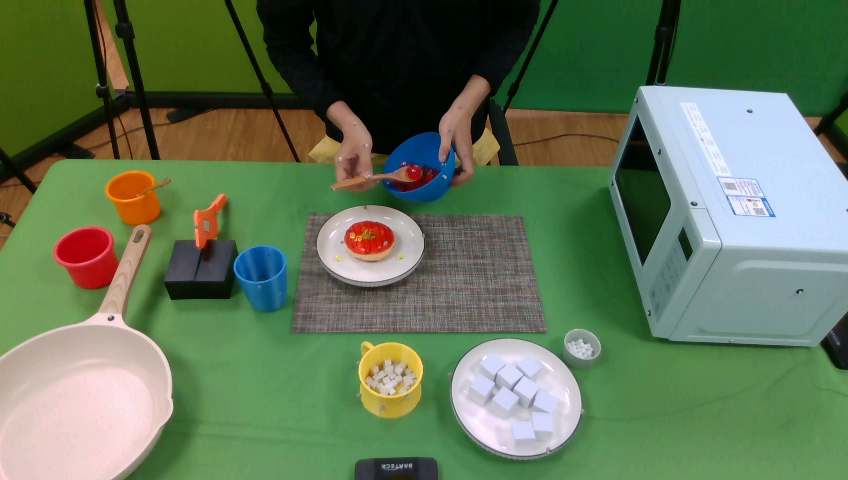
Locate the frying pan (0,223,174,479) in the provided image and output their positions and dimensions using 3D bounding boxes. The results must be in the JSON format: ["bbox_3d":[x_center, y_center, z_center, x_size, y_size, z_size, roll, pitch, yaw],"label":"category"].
[{"bbox_3d":[-0.505,0.169,0.941,0.307,0.103,0.485,5,54,-1],"label":"frying pan"}]

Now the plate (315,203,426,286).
[{"bbox_3d":[-0.101,0.012,1.159,0.209,0.038,0.208,2,46,-2],"label":"plate"}]

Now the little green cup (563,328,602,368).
[{"bbox_3d":[0.265,0.184,1.025,0.061,0.039,0.061,1,46,-1],"label":"little green cup"}]

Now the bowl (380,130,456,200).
[{"bbox_3d":[0.002,-0.128,1.156,0.151,0.077,0.150,-17,48,21],"label":"bowl"}]

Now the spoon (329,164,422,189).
[{"bbox_3d":[-0.086,-0.116,1.108,0.194,0.022,0.041,-12,56,-35],"label":"spoon"}]

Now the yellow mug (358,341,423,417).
[{"bbox_3d":[-0.062,0.210,0.961,0.100,0.064,0.130,-29,54,-27],"label":"yellow mug"}]

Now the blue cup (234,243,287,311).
[{"bbox_3d":[-0.276,0.072,1.052,0.093,0.101,0.092,1,48,-1],"label":"blue cup"}]

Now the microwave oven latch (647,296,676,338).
[{"bbox_3d":[0.413,0.133,1.060,0.030,0.029,0.078,4,46,1],"label":"microwave oven latch"}]

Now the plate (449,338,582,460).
[{"bbox_3d":[0.141,0.251,0.955,0.208,0.039,0.206,2,46,-2],"label":"plate"}]

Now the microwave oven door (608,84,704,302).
[{"bbox_3d":[0.424,-0.096,1.138,0.039,0.245,0.353,3,46,-1],"label":"microwave oven door"}]

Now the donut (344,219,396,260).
[{"bbox_3d":[-0.103,-0.002,1.157,0.099,0.048,0.098,3,43,-2],"label":"donut"}]

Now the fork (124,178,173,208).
[{"bbox_3d":[-0.525,-0.089,1.153,0.207,0.019,0.028,-18,27,45],"label":"fork"}]

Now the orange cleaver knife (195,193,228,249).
[{"bbox_3d":[-0.406,-0.041,1.163,0.012,0.077,0.210,0,18,-3],"label":"orange cleaver knife"}]

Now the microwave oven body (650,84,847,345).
[{"bbox_3d":[0.569,-0.054,1.116,0.326,0.261,0.439,2,46,-1],"label":"microwave oven body"}]
